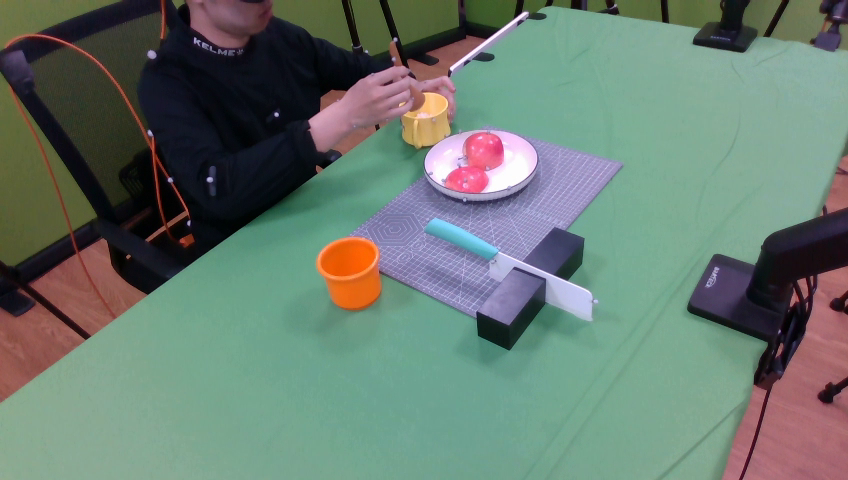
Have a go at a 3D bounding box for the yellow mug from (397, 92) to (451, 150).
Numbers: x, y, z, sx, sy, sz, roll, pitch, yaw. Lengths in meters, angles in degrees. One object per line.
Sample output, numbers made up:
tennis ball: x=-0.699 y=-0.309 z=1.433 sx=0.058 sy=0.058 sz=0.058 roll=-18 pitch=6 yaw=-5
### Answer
yellow mug: x=-0.003 y=-0.230 z=1.197 sx=0.099 sy=0.064 sz=0.130 roll=4 pitch=45 yaw=16

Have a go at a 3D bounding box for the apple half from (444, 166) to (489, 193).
apple half: x=0.074 y=-0.112 z=1.063 sx=0.081 sy=0.033 sz=0.081 roll=-6 pitch=39 yaw=5

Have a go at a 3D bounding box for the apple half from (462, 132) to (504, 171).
apple half: x=0.109 y=-0.170 z=1.110 sx=0.075 sy=0.053 sz=0.080 roll=-6 pitch=40 yaw=-2

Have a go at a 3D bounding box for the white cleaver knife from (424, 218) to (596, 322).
white cleaver knife: x=0.114 y=0.042 z=0.865 sx=0.284 sy=0.066 sz=0.021 roll=27 pitch=47 yaw=28

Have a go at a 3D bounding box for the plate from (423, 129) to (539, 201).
plate: x=0.103 y=-0.132 z=1.092 sx=0.209 sy=0.038 sz=0.208 roll=-4 pitch=40 yaw=4

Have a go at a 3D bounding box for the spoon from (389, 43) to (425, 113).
spoon: x=-0.032 y=-0.281 z=1.059 sx=0.041 sy=0.195 sz=0.021 roll=-40 pitch=62 yaw=-3
